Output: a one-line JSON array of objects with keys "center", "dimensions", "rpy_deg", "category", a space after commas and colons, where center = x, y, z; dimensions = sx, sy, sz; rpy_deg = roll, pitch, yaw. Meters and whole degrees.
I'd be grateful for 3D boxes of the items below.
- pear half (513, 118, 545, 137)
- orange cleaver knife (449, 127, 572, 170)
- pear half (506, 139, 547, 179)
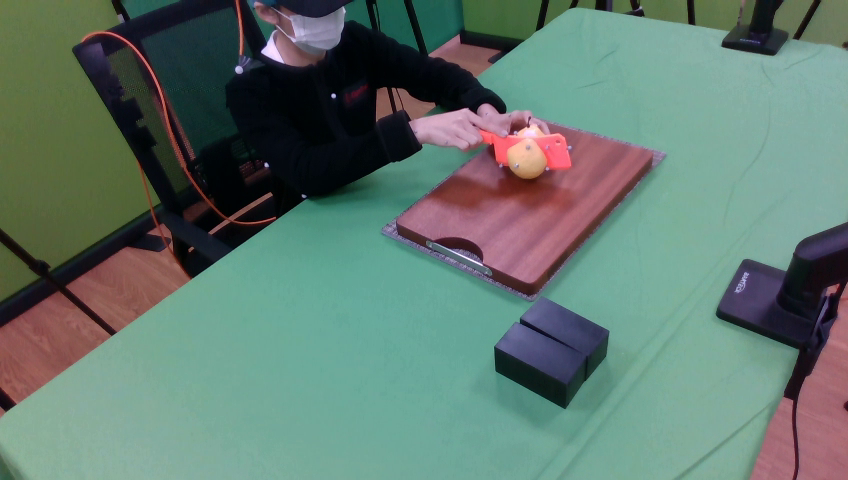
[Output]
[{"center": [0.183, -0.168, 1.035], "dimensions": [0.076, 0.110, 0.056], "rpy_deg": [11, 46, 13], "category": "pear half"}, {"center": [0.145, -0.154, 1.024], "dimensions": [0.210, 0.077, 0.012], "rpy_deg": [10, 46, 18], "category": "orange cleaver knife"}, {"center": [0.170, -0.129, 1.010], "dimensions": [0.070, 0.088, 0.031], "rpy_deg": [10, 59, 10], "category": "pear half"}]
